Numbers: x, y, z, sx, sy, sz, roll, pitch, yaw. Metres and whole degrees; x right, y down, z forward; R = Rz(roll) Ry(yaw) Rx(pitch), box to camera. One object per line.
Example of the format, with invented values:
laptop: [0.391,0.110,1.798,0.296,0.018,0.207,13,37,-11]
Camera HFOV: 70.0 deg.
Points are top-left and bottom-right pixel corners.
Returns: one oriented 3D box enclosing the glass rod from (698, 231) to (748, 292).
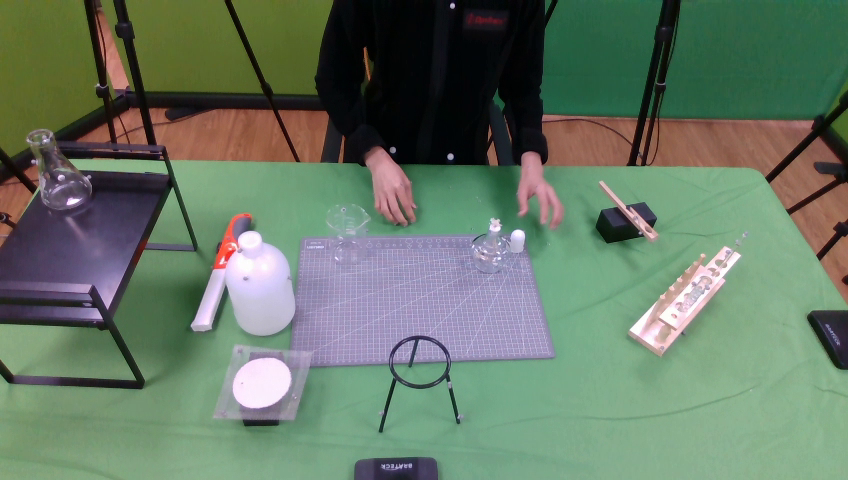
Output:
glass rod: [0.514,0.044,1.051,0.008,0.200,0.008,1,55,-1]

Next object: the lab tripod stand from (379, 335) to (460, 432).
lab tripod stand: [-0.011,0.214,0.911,0.148,0.132,0.147,1,45,0]

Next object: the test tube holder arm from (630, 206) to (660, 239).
test tube holder arm: [0.431,-0.035,1.192,0.010,0.015,0.087,-23,51,-12]

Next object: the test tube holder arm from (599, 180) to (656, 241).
test tube holder arm: [0.407,-0.062,1.219,0.013,0.015,0.177,-23,51,-12]

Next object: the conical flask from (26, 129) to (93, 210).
conical flask: [-0.575,-0.113,0.946,0.075,0.122,0.075,2,46,-2]

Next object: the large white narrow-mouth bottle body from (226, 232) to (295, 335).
large white narrow-mouth bottle body: [-0.270,0.065,0.995,0.102,0.195,0.101,2,46,-2]

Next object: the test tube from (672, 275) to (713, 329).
test tube: [0.438,0.106,1.007,0.017,0.151,0.017,4,51,-4]

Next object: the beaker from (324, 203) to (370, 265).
beaker: [-0.142,-0.009,1.137,0.084,0.101,0.073,-3,47,-7]

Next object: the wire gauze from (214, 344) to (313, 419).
wire gauze: [-0.241,0.213,0.915,0.121,0.011,0.124,5,46,1]

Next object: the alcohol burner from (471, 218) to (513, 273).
alcohol burner: [0.128,0.005,1.132,0.078,0.120,0.077,0,47,0]

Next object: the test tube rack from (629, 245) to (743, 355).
test tube rack: [0.474,0.095,1.091,0.242,0.085,0.066,-34,56,-31]

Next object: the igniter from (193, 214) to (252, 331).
igniter: [-0.368,0.050,1.119,0.057,0.025,0.275,-3,46,8]

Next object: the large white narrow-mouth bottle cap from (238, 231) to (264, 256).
large white narrow-mouth bottle cap: [-0.266,0.006,0.933,0.038,0.024,0.037,2,46,-2]

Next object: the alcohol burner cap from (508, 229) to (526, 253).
alcohol burner cap: [0.185,-0.002,1.192,0.034,0.048,0.033,3,45,-3]
